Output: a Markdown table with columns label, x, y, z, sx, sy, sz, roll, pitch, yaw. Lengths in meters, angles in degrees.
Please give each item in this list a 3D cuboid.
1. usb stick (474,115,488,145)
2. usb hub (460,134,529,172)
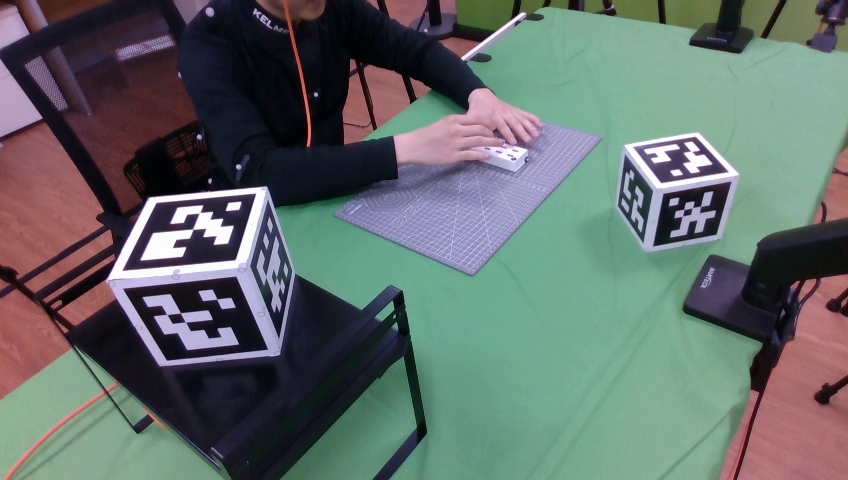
| label | x | y | z | sx | sy | sz | roll | pitch | yaw |
| --- | --- | --- | --- | --- | --- | --- | --- | --- | --- |
| usb stick | 0.107 | -0.209 | 1.125 | 0.021 | 0.059 | 0.027 | 7 | 42 | 1 |
| usb hub | 0.132 | -0.165 | 1.137 | 0.124 | 0.025 | 0.049 | 22 | 49 | 30 |
